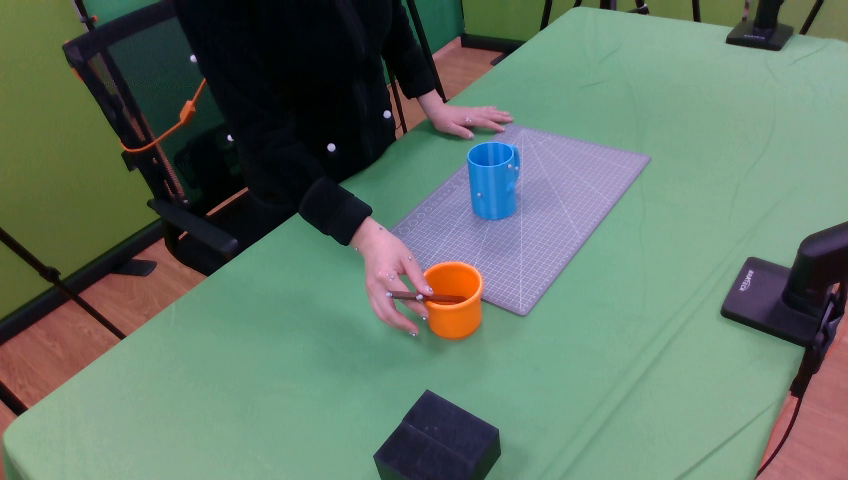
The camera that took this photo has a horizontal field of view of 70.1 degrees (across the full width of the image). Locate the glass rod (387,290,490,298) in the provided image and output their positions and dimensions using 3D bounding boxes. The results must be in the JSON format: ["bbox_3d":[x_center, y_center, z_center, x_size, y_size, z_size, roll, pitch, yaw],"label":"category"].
[{"bbox_3d":[0.025,0.072,0.806,0.201,0.008,0.008,3,23,-46],"label":"glass rod"}]

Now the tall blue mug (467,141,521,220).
[{"bbox_3d":[0.119,-0.109,1.020,0.077,0.108,0.107,3,42,15],"label":"tall blue mug"}]
